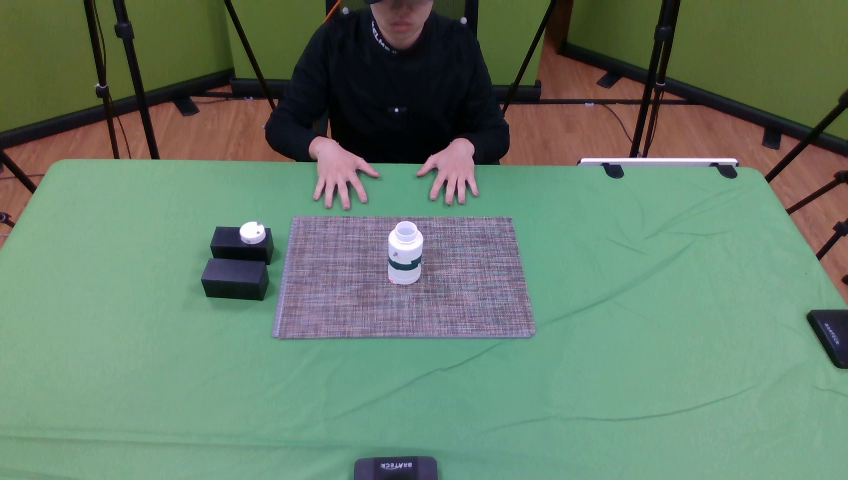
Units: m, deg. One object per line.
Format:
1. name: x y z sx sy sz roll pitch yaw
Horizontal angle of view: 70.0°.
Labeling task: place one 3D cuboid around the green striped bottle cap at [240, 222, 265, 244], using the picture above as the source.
1. green striped bottle cap: -0.318 -0.013 1.123 0.044 0.020 0.044 0 46 0

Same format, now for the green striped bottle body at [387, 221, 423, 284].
1. green striped bottle body: -0.035 0.021 1.103 0.063 0.120 0.063 2 46 -2
